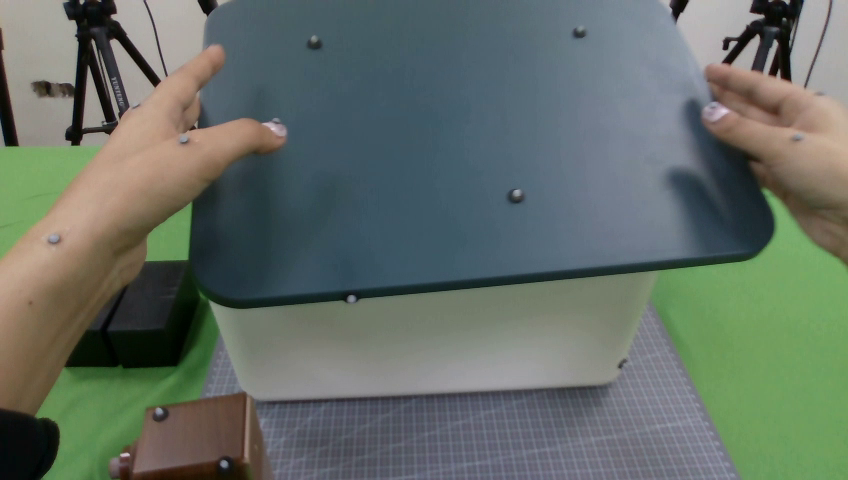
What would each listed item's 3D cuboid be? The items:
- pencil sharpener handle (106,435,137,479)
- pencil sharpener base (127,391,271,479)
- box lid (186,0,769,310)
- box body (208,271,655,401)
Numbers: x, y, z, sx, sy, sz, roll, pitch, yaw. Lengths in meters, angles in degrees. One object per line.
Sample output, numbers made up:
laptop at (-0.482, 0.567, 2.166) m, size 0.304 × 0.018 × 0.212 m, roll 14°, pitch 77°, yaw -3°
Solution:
pencil sharpener handle at (-0.202, 0.161, 0.406) m, size 0.031 × 0.068 × 0.035 m, roll -7°, pitch 40°, yaw -9°
pencil sharpener base at (-0.152, 0.165, 0.421) m, size 0.077 × 0.108 × 0.060 m, roll -7°, pitch 38°, yaw -9°
box lid at (0.028, -0.083, 0.428) m, size 0.372 × 0.015 × 0.260 m, roll -5°, pitch 58°, yaw -9°
box body at (0.002, 0.010, 0.590) m, size 0.364 × 0.162 × 0.251 m, roll -2°, pitch 37°, yaw -4°
